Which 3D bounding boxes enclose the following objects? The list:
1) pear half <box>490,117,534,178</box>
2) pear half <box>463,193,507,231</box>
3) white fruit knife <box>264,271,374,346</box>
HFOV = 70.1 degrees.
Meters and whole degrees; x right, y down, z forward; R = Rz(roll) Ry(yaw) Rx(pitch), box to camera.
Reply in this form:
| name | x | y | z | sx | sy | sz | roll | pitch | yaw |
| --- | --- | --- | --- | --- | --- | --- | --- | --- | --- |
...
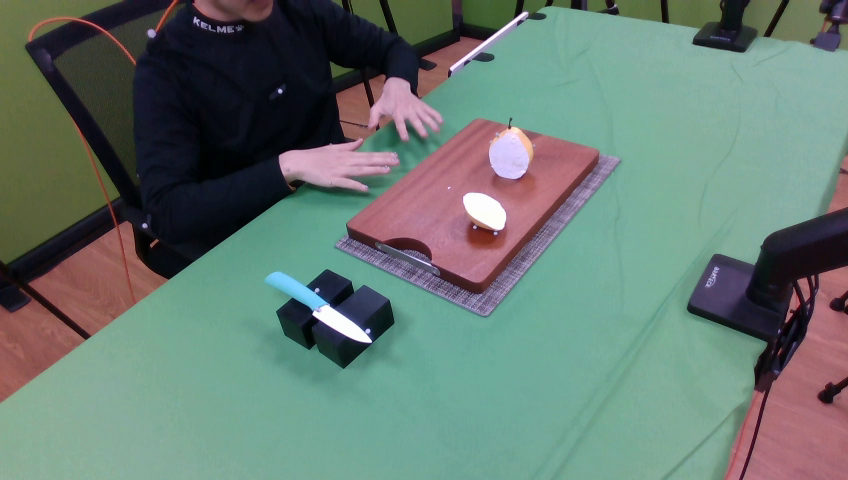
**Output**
| name | x | y | z | sx | sy | sz | roll | pitch | yaw |
| --- | --- | --- | --- | --- | --- | --- | --- | --- | --- |
| pear half | 0.152 | -0.165 | 1.028 | 0.076 | 0.110 | 0.056 | 11 | 44 | 15 |
| pear half | 0.095 | -0.038 | 0.947 | 0.071 | 0.031 | 0.087 | -9 | 52 | -25 |
| white fruit knife | -0.143 | 0.091 | 0.815 | 0.206 | 0.016 | 0.027 | 28 | 74 | 30 |
